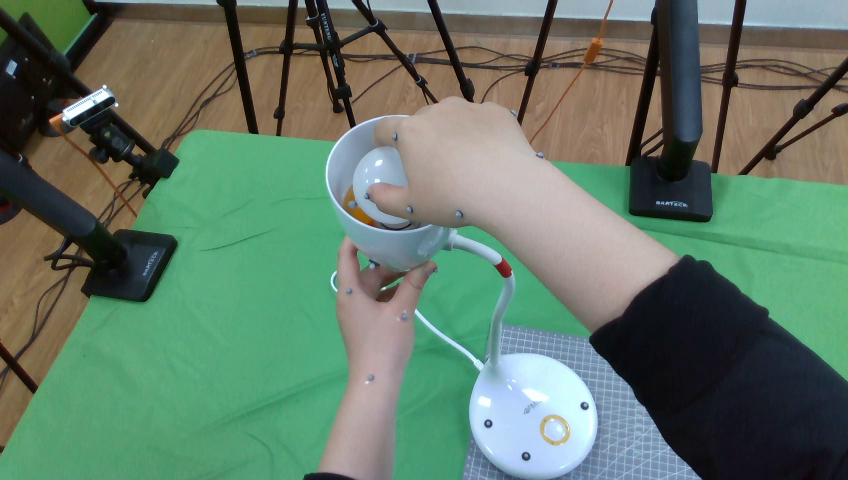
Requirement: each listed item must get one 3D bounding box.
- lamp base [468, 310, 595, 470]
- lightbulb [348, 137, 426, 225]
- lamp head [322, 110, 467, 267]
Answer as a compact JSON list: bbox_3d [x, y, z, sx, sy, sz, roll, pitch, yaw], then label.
[{"bbox_3d":[0.117,0.162,0.712,0.177,0.182,0.160,31,64,28],"label":"lamp base"},{"bbox_3d":[-0.027,-0.038,0.482,0.059,0.108,0.059,0,67,1],"label":"lightbulb"},{"bbox_3d":[-0.019,-0.029,0.508,0.112,0.124,0.111,-2,60,4],"label":"lamp head"}]
